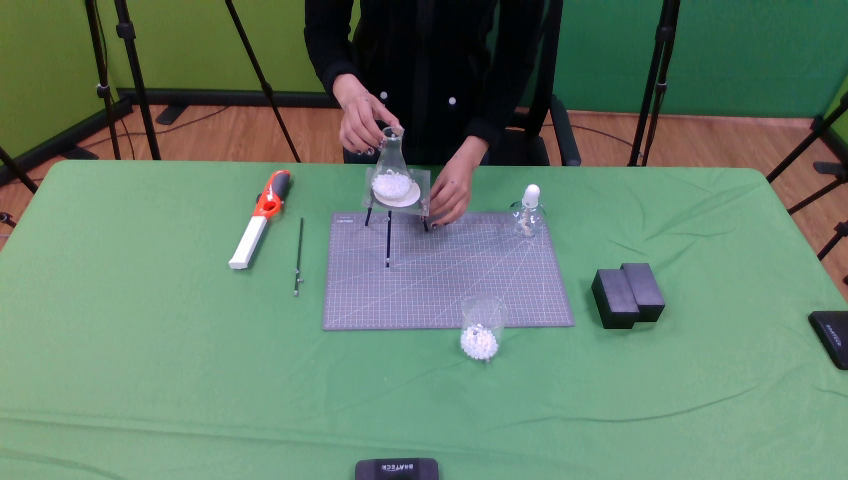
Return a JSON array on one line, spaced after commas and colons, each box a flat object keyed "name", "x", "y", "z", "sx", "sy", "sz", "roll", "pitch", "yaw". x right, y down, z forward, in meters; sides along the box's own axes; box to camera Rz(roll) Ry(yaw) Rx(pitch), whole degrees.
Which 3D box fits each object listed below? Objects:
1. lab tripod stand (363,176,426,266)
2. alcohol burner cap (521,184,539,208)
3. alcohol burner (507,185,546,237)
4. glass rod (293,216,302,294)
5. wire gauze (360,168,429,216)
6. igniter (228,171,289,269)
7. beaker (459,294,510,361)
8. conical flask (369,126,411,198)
[{"name": "lab tripod stand", "x": -0.058, "y": -0.047, "z": 1.160, "sx": 0.148, "sy": 0.132, "sz": 0.147, "roll": 3, "pitch": 44, "yaw": -3}, {"name": "alcohol burner cap", "x": 0.210, "y": -0.087, "z": 1.183, "sx": 0.034, "sy": 0.048, "sz": 0.033, "roll": 0, "pitch": 52, "yaw": 0}, {"name": "alcohol burner", "x": 0.208, "y": -0.063, "z": 1.210, "sx": 0.078, "sy": 0.119, "sz": 0.077, "roll": 3, "pitch": 44, "yaw": -3}, {"name": "glass rod", "x": -0.242, "y": 0.024, "z": 1.166, "sx": 0.008, "sy": 0.008, "sz": 0.198, "roll": -2, "pitch": 47, "yaw": -5}, {"name": "wire gauze", "x": -0.052, "y": -0.093, "z": 1.111, "sx": 0.125, "sy": 0.011, "sz": 0.120, "roll": 5, "pitch": 44, "yaw": -1}, {"name": "igniter", "x": -0.328, "y": -0.049, "z": 1.218, "sx": 0.057, "sy": 0.025, "sz": 0.275, "roll": 1, "pitch": 45, "yaw": 11}, {"name": "beaker", "x": 0.095, "y": 0.147, "z": 1.012, "sx": 0.083, "sy": 0.101, "sz": 0.074, "roll": 26, "pitch": 49, "yaw": 21}, {"name": "conical flask", "x": -0.059, "y": -0.139, "z": 1.058, "sx": 0.075, "sy": 0.122, "sz": 0.075, "roll": 2, "pitch": 44, "yaw": -2}]
